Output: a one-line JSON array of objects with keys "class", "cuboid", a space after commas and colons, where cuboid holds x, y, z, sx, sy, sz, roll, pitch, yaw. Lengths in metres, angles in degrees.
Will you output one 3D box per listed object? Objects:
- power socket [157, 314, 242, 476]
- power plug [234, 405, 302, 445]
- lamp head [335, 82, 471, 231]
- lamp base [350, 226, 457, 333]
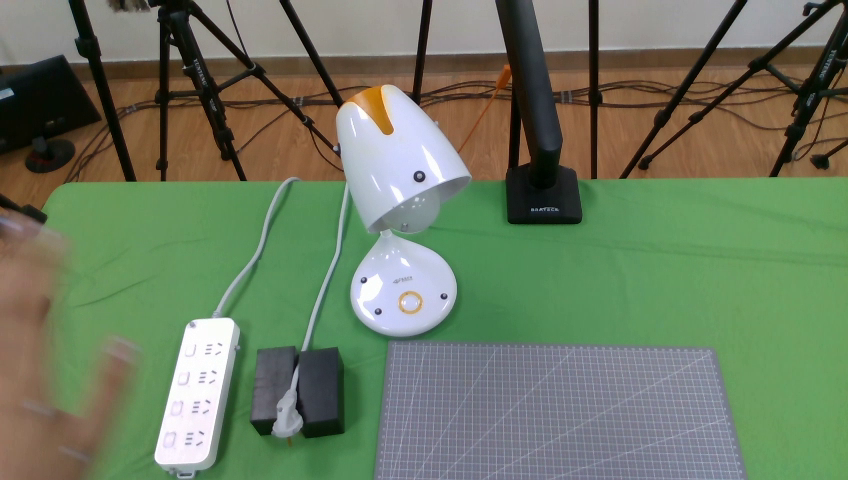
[{"class": "power socket", "cuboid": [-0.299, 0.199, 0.820, 0.072, 0.033, 0.224, -2, 52, 1]}, {"class": "power plug", "cuboid": [-0.183, 0.228, 0.732, 0.072, 0.053, 0.035, -19, 9, -4]}, {"class": "lamp head", "cuboid": [-0.030, -0.083, 0.572, 0.112, 0.113, 0.122, -26, 79, -15]}, {"class": "lamp base", "cuboid": [-0.042, 0.014, 0.851, 0.161, 0.182, 0.177, -23, 52, -13]}]
